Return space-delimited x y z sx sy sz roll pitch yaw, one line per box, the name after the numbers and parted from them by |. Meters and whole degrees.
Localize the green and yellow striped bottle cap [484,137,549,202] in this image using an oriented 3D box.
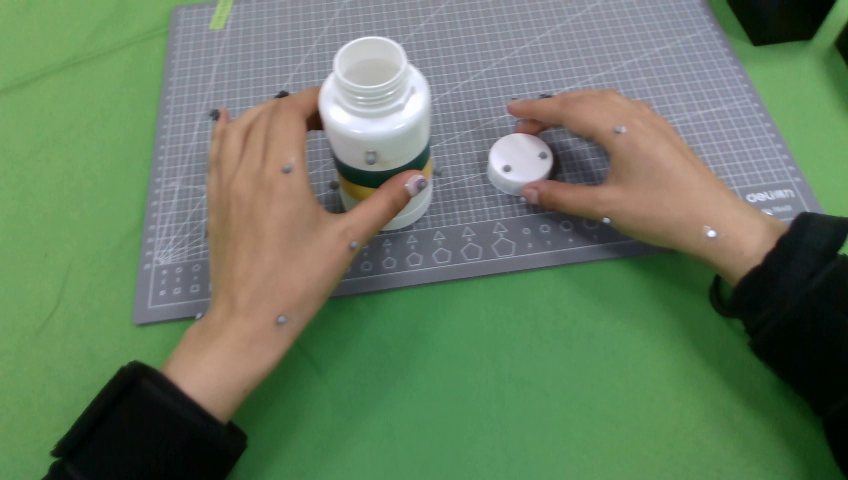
0.064 -0.050 0.420 0.045 0.020 0.045 0 60 1 | green and yellow striped bottle cap

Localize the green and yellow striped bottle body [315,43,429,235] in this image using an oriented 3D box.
-0.029 -0.059 0.367 0.063 0.120 0.062 -1 59 1 | green and yellow striped bottle body
